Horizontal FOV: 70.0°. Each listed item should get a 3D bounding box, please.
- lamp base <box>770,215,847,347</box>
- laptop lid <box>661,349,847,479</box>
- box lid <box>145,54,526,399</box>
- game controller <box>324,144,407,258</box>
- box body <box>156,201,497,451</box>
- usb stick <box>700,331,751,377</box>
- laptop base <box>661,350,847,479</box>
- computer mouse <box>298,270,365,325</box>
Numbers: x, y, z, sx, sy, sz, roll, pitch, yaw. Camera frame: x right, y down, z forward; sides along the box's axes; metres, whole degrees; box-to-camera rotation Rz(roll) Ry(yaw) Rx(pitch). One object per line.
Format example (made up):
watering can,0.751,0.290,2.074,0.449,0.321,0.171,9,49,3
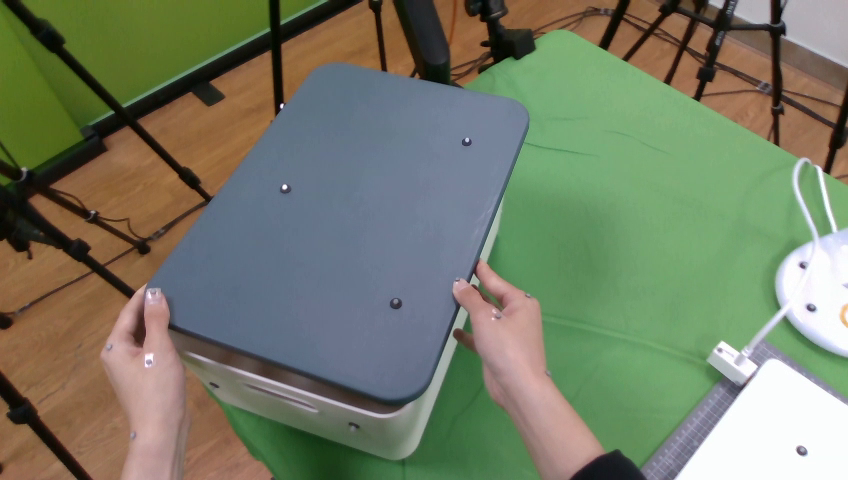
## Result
lamp base,0.497,0.003,0.669,0.160,0.182,0.177,5,52,6
laptop lid,0.418,0.284,0.555,0.241,0.013,0.353,-39,62,-20
box lid,-0.065,-0.047,0.592,0.262,0.015,0.369,16,57,11
game controller,-0.073,-0.054,0.724,0.097,0.052,0.153,-3,54,-5
box body,-0.075,0.024,0.688,0.253,0.162,0.361,15,56,12
usb stick,0.338,0.130,0.667,0.021,0.027,0.058,-34,63,-26
laptop base,0.420,0.290,0.566,0.351,0.023,0.235,38,68,26
computer mouse,-0.110,0.062,0.725,0.063,0.041,0.116,-11,15,6
